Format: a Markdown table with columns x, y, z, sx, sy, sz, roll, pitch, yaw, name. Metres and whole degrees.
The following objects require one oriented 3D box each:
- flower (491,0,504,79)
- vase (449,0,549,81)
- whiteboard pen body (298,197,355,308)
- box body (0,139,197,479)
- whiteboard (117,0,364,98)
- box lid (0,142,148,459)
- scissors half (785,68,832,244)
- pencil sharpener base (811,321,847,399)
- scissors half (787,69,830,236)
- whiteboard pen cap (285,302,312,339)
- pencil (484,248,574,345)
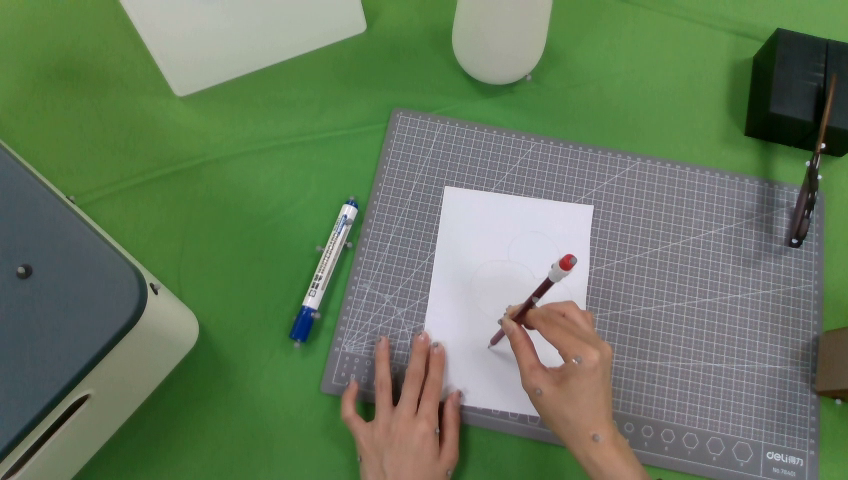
| x | y | z | sx | sy | sz | roll | pitch | yaw | name |
| --- | --- | --- | --- | --- | --- | --- | --- | --- | --- |
| 0.070 | -0.276 | 0.492 | 0.044 | 0.365 | 0.038 | 5 | 55 | 5 | flower |
| 0.074 | -0.238 | 0.567 | 0.098 | 0.201 | 0.097 | 0 | 71 | 1 | vase |
| -0.097 | 0.021 | 0.580 | 0.017 | 0.017 | 0.140 | 18 | 72 | 5 | whiteboard pen body |
| -0.406 | 0.041 | 0.495 | 0.363 | 0.161 | 0.253 | 38 | 77 | 10 | box body |
| -0.207 | -0.328 | 0.566 | 0.217 | 0.308 | 0.142 | -22 | 55 | -7 | whiteboard |
| -0.407 | 0.017 | 0.424 | 0.370 | 0.015 | 0.263 | 38 | 76 | 10 | box lid |
| 0.375 | -0.082 | 0.587 | 0.012 | 0.040 | 0.175 | 14 | 93 | 29 | scissors half |
| 0.400 | 0.105 | 0.515 | 0.077 | 0.107 | 0.061 | 16 | 73 | 1 | pencil sharpener base |
| 0.366 | -0.086 | 0.569 | 0.013 | 0.040 | 0.174 | 14 | 75 | 23 | scissors half |
| -0.115 | 0.074 | 0.561 | 0.018 | 0.018 | 0.033 | 18 | 69 | 5 | whiteboard pen cap |
| 0.075 | 0.053 | 0.480 | 0.012 | 0.195 | 0.012 | 5 | 62 | -10 | pencil |
